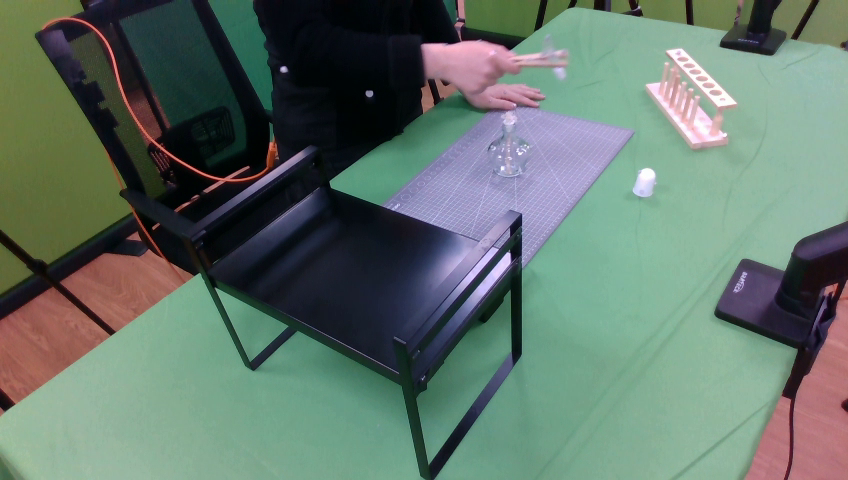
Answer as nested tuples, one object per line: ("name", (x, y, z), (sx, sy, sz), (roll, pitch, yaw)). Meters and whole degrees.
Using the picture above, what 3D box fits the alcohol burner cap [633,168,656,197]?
("alcohol burner cap", (0.374, -0.099, 1.018), (0.034, 0.048, 0.033), (0, 41, 1))

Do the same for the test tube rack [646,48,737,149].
("test tube rack", (0.511, -0.280, 1.175), (0.067, 0.085, 0.241), (-8, 41, 1))

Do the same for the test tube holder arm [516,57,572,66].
("test tube holder arm", (0.190, -0.284, 0.959), (0.087, 0.015, 0.010), (8, 86, 20))

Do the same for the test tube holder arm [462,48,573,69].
("test tube holder arm", (0.148, -0.291, 0.974), (0.177, 0.015, 0.013), (0, 83, 19))

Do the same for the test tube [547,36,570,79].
("test tube", (0.214, -0.286, 0.958), (0.017, 0.151, 0.017), (-2, 84, 21))

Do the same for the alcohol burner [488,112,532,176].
("alcohol burner", (0.155, -0.176, 1.084), (0.078, 0.119, 0.077), (-3, 41, 3))
